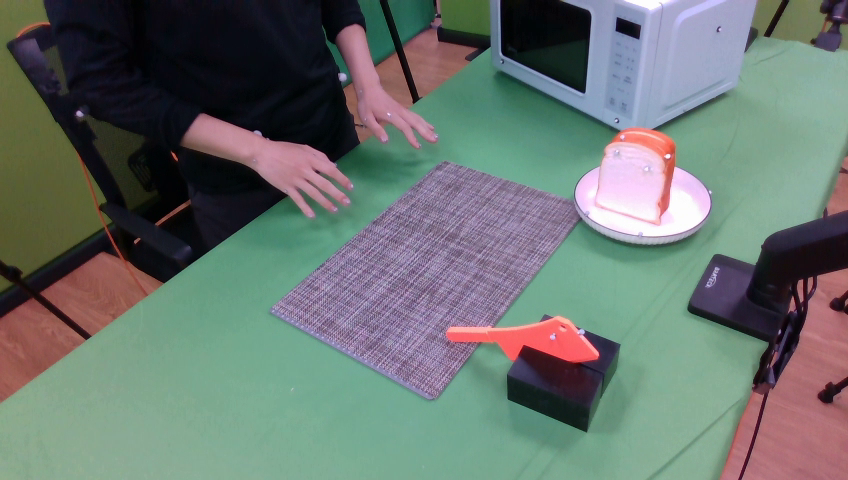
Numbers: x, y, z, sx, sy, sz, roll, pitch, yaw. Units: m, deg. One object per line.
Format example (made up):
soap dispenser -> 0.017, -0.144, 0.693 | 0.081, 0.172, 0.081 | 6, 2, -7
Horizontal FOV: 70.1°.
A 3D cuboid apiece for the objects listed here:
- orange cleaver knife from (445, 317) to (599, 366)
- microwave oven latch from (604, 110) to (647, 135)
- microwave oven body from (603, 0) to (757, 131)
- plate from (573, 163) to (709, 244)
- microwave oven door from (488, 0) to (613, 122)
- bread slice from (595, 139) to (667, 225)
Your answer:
orange cleaver knife -> 0.115, 0.129, 0.751 | 0.210, 0.077, 0.012 | -11, 30, 45
microwave oven latch -> 0.378, -0.225, 1.139 | 0.030, 0.029, 0.078 | -27, 44, -20
microwave oven body -> 0.396, -0.448, 1.248 | 0.327, 0.261, 0.437 | -27, 44, -21
plate -> 0.347, -0.059, 0.979 | 0.207, 0.039, 0.206 | -4, 41, 4
microwave oven door -> 0.250, -0.412, 1.219 | 0.039, 0.245, 0.352 | -27, 44, -21
bread slice -> 0.320, -0.093, 0.936 | 0.106, 0.135, 0.018 | 17, 44, 31
